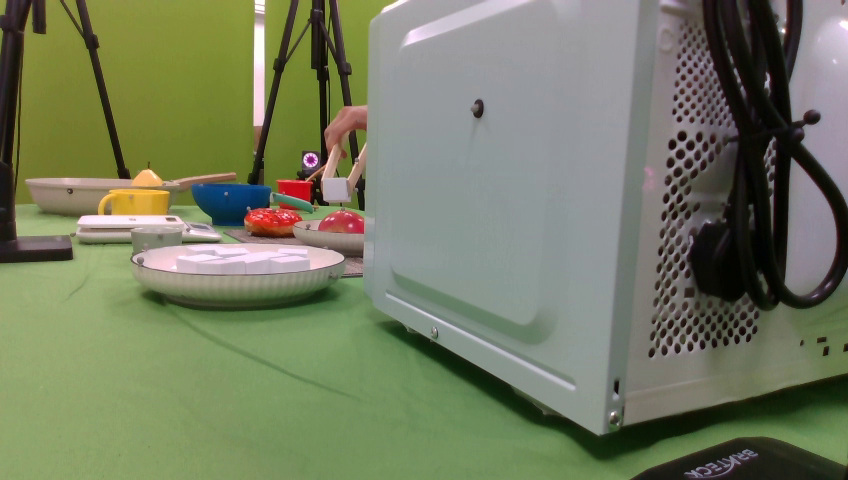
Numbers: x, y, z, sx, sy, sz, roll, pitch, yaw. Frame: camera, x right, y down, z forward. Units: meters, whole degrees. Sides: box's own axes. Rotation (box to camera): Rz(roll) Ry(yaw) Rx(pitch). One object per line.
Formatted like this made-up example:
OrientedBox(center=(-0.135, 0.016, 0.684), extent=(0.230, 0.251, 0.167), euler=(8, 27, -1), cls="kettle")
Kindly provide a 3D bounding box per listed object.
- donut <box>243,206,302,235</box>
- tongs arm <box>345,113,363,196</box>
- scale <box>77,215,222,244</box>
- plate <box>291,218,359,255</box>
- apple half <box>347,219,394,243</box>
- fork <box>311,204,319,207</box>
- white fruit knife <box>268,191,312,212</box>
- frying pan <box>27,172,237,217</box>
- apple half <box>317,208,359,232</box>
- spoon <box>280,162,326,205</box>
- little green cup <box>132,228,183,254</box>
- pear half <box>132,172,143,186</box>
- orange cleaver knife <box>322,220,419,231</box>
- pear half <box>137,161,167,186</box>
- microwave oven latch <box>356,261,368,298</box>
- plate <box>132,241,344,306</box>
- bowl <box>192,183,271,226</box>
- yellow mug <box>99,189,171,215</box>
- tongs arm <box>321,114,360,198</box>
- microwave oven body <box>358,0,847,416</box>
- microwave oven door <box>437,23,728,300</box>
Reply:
OrientedBox(center=(-0.261, -0.032, 1.043), extent=(0.099, 0.048, 0.099), euler=(4, 9, 0), cls="donut")
OrientedBox(center=(-0.113, -0.151, 0.989), extent=(0.051, 0.026, 0.384), euler=(-6, 25, 7), cls="tongs arm")
OrientedBox(center=(-0.434, -0.019, 0.963), extent=(0.202, 0.031, 0.148), euler=(-1, 9, -27), cls="scale")
OrientedBox(center=(-0.098, -0.007, 0.928), extent=(0.209, 0.038, 0.209), euler=(2, 7, 0), cls="plate")
OrientedBox(center=(-0.084, -0.018, 0.967), extent=(0.081, 0.033, 0.081), euler=(6, 10, -1), cls="apple half")
OrientedBox(center=(-0.356, -0.105, 1.526), extent=(0.208, 0.018, 0.028), euler=(16, -5, -41), cls="fork")
OrientedBox(center=(-0.364, -0.105, 1.464), extent=(0.208, 0.027, 0.016), euler=(15, 0, -34), cls="white fruit knife")
OrientedBox(center=(-0.624, -0.118, 1.387), extent=(0.305, 0.102, 0.490), euler=(8, 17, 32), cls="frying pan")
OrientedBox(center=(-0.122, -0.020, 0.901), extent=(0.080, 0.053, 0.075), euler=(4, 11, 20), cls="apple half")
OrientedBox(center=(-0.317, -0.159, 1.640), extent=(0.194, 0.022, 0.041), euler=(-49, 32, -20), cls="spoon")
OrientedBox(center=(-0.342, 0.006, 0.779), extent=(0.061, 0.038, 0.061), euler=(2, 8, 0), cls="little green cup")
OrientedBox(center=(-0.638, -0.113, 1.361), extent=(0.031, 0.088, 0.070), euler=(5, 10, 4), cls="pear half")
OrientedBox(center=(-0.097, -0.027, 1.152), extent=(0.077, 0.012, 0.212), euler=(3, 7, 41), cls="orange cleaver knife")
OrientedBox(center=(-0.602, -0.120, 1.354), extent=(0.056, 0.110, 0.076), euler=(4, 11, 6), cls="pear half")
OrientedBox(center=(-0.019, 0.033, 0.530), extent=(0.079, 0.029, 0.030), euler=(0, 7, -26), cls="microwave oven latch")
OrientedBox(center=(-0.187, 0.033, 0.625), extent=(0.208, 0.039, 0.207), euler=(2, 8, 0), cls="plate")
OrientedBox(center=(-0.382, -0.071, 1.202), extent=(0.151, 0.077, 0.151), euler=(3, 7, 0), cls="bowl")
OrientedBox(center=(-0.518, -0.055, 1.080), extent=(0.099, 0.064, 0.131), euler=(6, 9, 26), cls="yellow mug")
OrientedBox(center=(-0.135, -0.148, 0.990), extent=(0.028, 0.028, 0.387), euler=(-11, 25, 4), cls="tongs arm")
OrientedBox(center=(0.211, -0.047, 0.475), extent=(0.444, 0.260, 0.324), euler=(-1, 7, -28), cls="microwave oven body")
OrientedBox(center=(0.180, -0.072, 0.621), extent=(0.358, 0.243, 0.039), euler=(-2, 8, -29), cls="microwave oven door")
